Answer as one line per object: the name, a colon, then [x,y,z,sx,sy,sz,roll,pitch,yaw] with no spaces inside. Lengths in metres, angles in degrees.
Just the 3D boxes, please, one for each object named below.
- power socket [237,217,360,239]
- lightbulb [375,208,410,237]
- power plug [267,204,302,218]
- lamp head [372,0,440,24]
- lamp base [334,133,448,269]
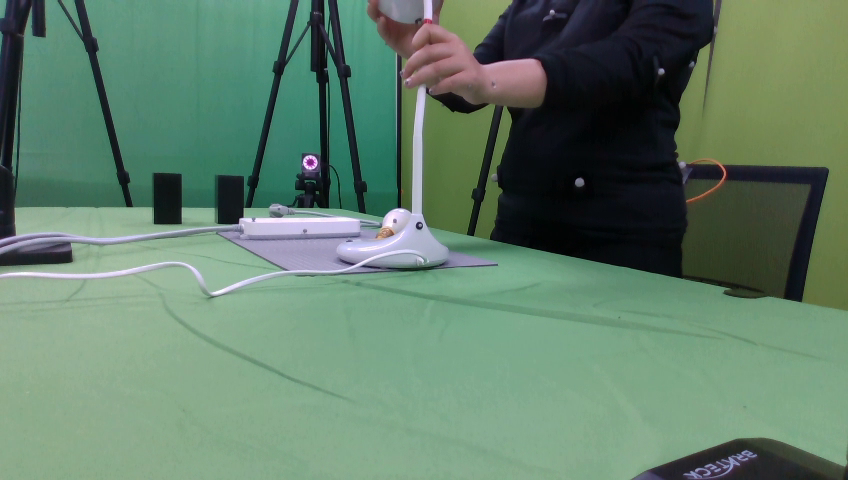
power socket: [-0.220,-0.023,1.080,0.228,0.032,0.072,-2,8,-32]
lightbulb: [-0.052,-0.016,1.022,0.059,0.059,0.108,6,22,21]
power plug: [-0.327,-0.060,1.404,0.073,0.035,0.052,22,-15,-26]
lamp head: [-0.012,-0.371,0.832,0.113,0.112,0.122,0,-2,-20]
lamp base: [-0.034,-0.057,0.831,0.161,0.180,0.178,-2,11,-36]
